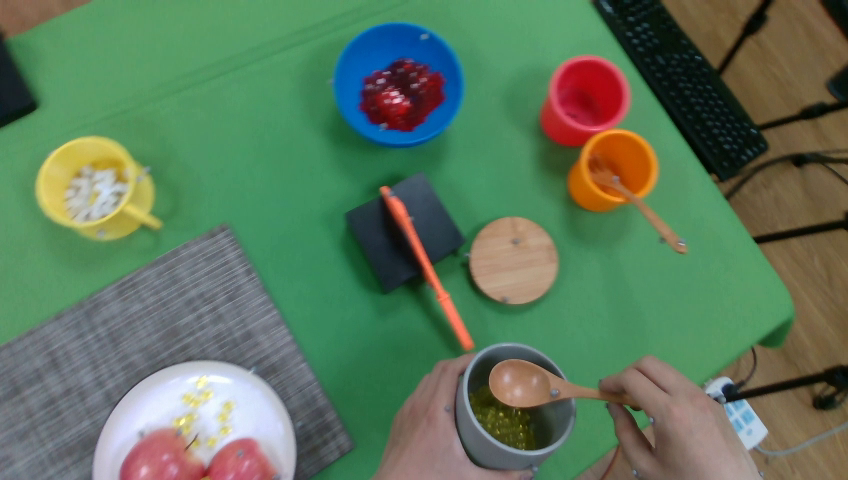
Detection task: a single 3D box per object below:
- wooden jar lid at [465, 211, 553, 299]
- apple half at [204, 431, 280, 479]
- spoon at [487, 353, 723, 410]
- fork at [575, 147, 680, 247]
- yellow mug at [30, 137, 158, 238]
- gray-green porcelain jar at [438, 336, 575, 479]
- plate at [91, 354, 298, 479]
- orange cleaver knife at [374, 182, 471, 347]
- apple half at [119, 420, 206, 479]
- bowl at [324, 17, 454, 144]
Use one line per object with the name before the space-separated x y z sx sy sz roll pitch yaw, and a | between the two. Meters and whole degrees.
wooden jar lid | 0.102 0.019 0.737 0.108 0.021 0.108 1 80 -4
apple half | -0.197 0.247 0.641 0.081 0.033 0.081 1 76 -4
spoon | 0.151 0.127 0.515 0.193 0.022 0.041 5 68 16
fork | 0.230 -0.055 0.698 0.028 0.019 0.205 -16 37 -9
yellow mug | -0.358 -0.050 0.677 0.131 0.064 0.099 29 77 -1
gray-green porcelain jar | 0.072 0.168 0.584 0.106 0.127 0.105 7 52 -9
plate | -0.239 0.227 0.647 0.209 0.038 0.208 1 79 -6
orange cleaver knife | -0.002 0.028 0.692 0.012 0.076 0.212 -30 107 -8
apple half | -0.275 0.233 0.626 0.074 0.053 0.080 -34 85 -9
bowl | -0.043 -0.178 0.729 0.151 0.077 0.150 1 79 -6
